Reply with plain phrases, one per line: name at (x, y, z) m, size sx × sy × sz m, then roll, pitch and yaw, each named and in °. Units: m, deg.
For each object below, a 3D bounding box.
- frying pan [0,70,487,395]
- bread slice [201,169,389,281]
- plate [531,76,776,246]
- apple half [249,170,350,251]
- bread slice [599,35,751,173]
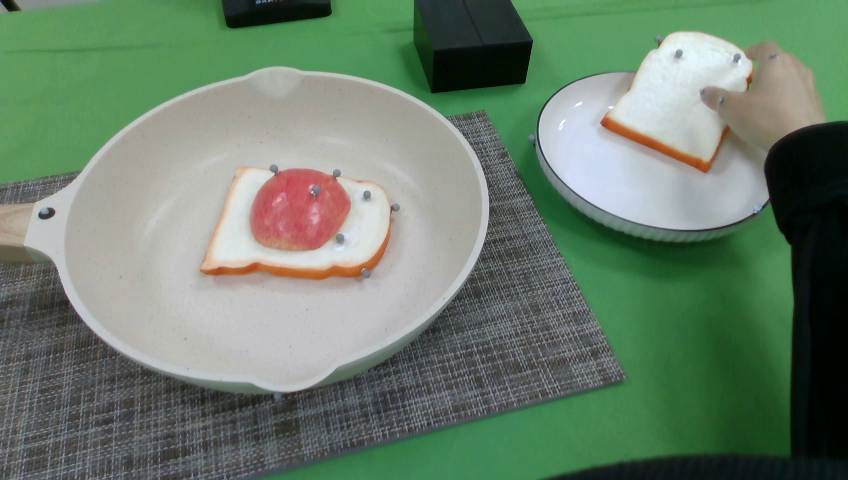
frying pan at (-0.202, -0.010, 0.421) m, size 0.489 × 0.103 × 0.303 m, roll -1°, pitch 48°, yaw -14°
bread slice at (-0.095, -0.013, 0.478) m, size 0.134 × 0.018 × 0.106 m, roll 1°, pitch 51°, yaw -1°
plate at (0.197, -0.071, 0.538) m, size 0.208 × 0.039 × 0.205 m, roll 1°, pitch 50°, yaw -1°
apple half at (-0.098, -0.028, 0.461) m, size 0.081 × 0.033 × 0.080 m, roll 0°, pitch 48°, yaw 1°
bread slice at (0.241, -0.137, 0.569) m, size 0.104 × 0.019 × 0.131 m, roll 29°, pitch 75°, yaw 19°
